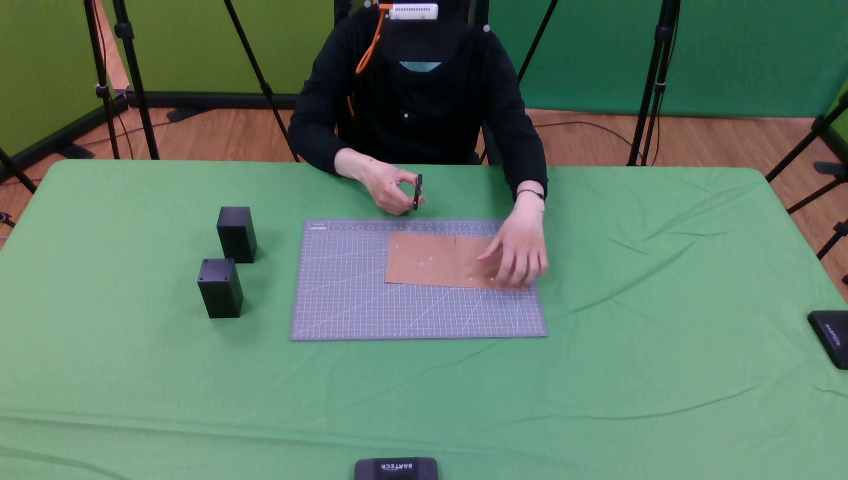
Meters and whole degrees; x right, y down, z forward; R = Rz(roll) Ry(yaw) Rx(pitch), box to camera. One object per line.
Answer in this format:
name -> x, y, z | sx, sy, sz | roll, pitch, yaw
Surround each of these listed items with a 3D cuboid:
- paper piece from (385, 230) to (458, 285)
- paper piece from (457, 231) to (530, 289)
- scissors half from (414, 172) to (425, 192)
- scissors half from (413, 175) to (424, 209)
paper piece -> -0.002, 0.031, 1.169 | 0.136, 0.004, 0.134 | 3, 48, 0
paper piece -> 0.131, 0.038, 1.171 | 0.138, 0.009, 0.135 | 4, 50, -1
scissors half -> -0.010, -0.115, 1.166 | 0.013, 0.040, 0.175 | 4, 2, 5
scissors half -> -0.013, -0.095, 1.164 | 0.013, 0.176, 0.040 | 9, 76, 6
